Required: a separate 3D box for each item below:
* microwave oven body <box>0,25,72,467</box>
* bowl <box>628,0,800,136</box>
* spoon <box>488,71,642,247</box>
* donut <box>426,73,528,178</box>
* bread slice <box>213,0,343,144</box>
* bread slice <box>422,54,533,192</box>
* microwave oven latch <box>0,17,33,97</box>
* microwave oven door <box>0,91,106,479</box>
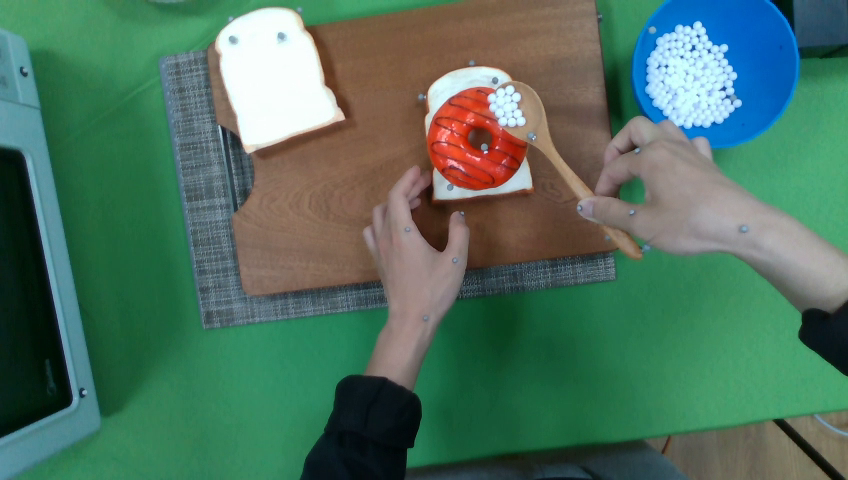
[{"bbox_3d":[-0.555,0.016,0.554,0.326,0.260,0.442,-10,93,3],"label":"microwave oven body"},{"bbox_3d":[0.267,-0.172,0.588,0.151,0.077,0.151,0,94,4],"label":"bowl"},{"bbox_3d":[0.111,-0.068,0.493,0.041,0.022,0.192,-40,61,16],"label":"spoon"},{"bbox_3d":[0.051,-0.108,0.577,0.099,0.048,0.099,0,95,3],"label":"donut"},{"bbox_3d":[-0.155,-0.174,0.613,0.107,0.018,0.134,-22,91,4],"label":"bread slice"},{"bbox_3d":[0.049,-0.118,0.606,0.105,0.019,0.131,-8,94,3],"label":"bread slice"},{"bbox_3d":[-0.435,-0.188,0.630,0.030,0.029,0.079,-9,94,3],"label":"microwave oven latch"},{"bbox_3d":[-0.404,0.032,0.541,0.039,0.243,0.356,-11,93,4],"label":"microwave oven door"}]
